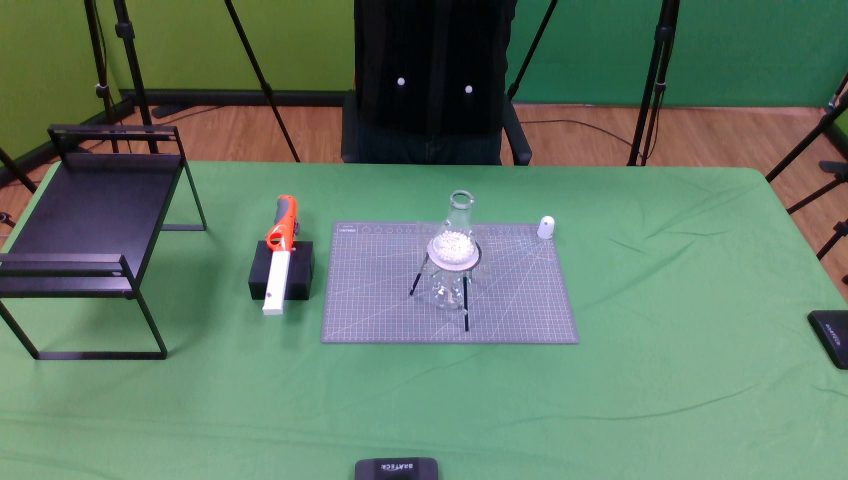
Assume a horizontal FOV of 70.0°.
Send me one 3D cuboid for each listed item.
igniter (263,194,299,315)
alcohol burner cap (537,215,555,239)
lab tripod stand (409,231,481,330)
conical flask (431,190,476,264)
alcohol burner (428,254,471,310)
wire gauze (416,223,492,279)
[{"bbox_3d":[-0.259,0.016,1.093,0.057,0.025,0.274,-3,49,-2],"label":"igniter"},{"bbox_3d":[0.250,-0.029,1.227,0.034,0.048,0.033,1,47,-1],"label":"alcohol burner cap"},{"bbox_3d":[0.051,0.064,1.060,0.148,0.132,0.147,4,46,-4],"label":"lab tripod stand"},{"bbox_3d":[0.052,-0.025,0.971,0.075,0.122,0.075,3,48,-3],"label":"conical flask"},{"bbox_3d":[0.046,0.068,1.069,0.078,0.119,0.077,3,45,-3],"label":"alcohol burner"},{"bbox_3d":[0.048,0.016,1.014,0.125,0.011,0.120,1,45,-1],"label":"wire gauze"}]
